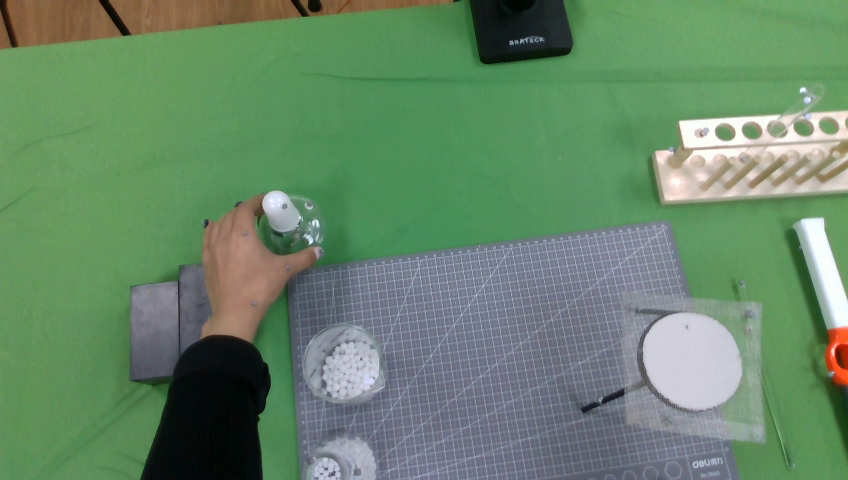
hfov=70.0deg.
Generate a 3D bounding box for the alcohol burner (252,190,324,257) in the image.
[{"bbox_3d":[-0.151,-0.024,0.654,0.078,0.120,0.077,0,74,1],"label":"alcohol burner"}]

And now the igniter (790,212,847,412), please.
[{"bbox_3d":[0.458,0.101,0.665,0.057,0.025,0.274,-3,73,-11],"label":"igniter"}]

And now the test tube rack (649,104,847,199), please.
[{"bbox_3d":[0.398,-0.101,0.696,0.242,0.085,0.066,-4,72,-1],"label":"test tube rack"}]

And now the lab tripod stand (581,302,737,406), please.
[{"bbox_3d":[0.231,0.123,0.598,0.148,0.132,0.147,0,74,0],"label":"lab tripod stand"}]

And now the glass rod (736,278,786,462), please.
[{"bbox_3d":[0.369,0.139,0.663,0.008,0.008,0.198,-6,76,-2],"label":"glass rod"}]

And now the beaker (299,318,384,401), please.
[{"bbox_3d":[-0.076,0.126,0.613,0.084,0.101,0.074,28,75,7],"label":"beaker"}]

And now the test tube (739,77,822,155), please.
[{"bbox_3d":[0.379,-0.129,0.653,0.017,0.151,0.017,-1,73,3],"label":"test tube"}]

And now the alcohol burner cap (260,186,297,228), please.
[{"bbox_3d":[-0.151,-0.037,0.620,0.034,0.048,0.033,1,65,-1],"label":"alcohol burner cap"}]

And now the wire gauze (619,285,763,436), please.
[{"bbox_3d":[0.235,0.104,0.534,0.125,0.011,0.121,6,74,2],"label":"wire gauze"}]

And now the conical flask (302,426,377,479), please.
[{"bbox_3d":[-0.085,0.214,0.574,0.075,0.122,0.075,0,73,0],"label":"conical flask"}]
